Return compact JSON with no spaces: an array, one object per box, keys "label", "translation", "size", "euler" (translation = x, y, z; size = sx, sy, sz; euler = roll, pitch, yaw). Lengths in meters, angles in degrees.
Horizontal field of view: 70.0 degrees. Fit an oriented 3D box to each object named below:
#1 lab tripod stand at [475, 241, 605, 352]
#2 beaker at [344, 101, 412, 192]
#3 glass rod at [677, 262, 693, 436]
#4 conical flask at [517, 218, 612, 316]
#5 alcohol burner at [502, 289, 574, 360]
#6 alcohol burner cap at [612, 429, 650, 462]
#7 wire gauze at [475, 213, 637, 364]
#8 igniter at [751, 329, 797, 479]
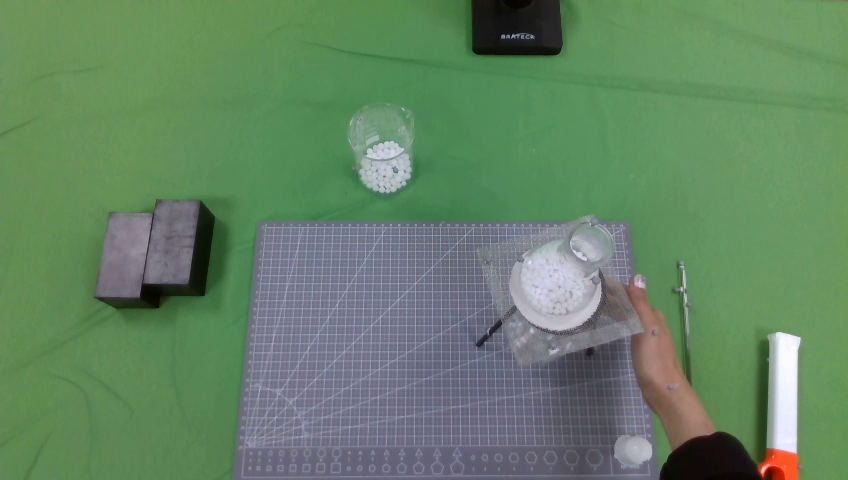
[{"label":"lab tripod stand","translation":[0.125,0.067,0.636],"size":[0.148,0.132,0.147],"euler":[0,73,0]},{"label":"beaker","translation":[-0.048,-0.107,0.713],"size":[0.084,0.101,0.073],"euler":[-39,76,-13]},{"label":"glass rod","translation":[0.296,0.120,0.689],"size":[0.008,0.008,0.198],"euler":[5,71,1]},{"label":"conical flask","translation":[0.125,0.019,0.520],"size":[0.075,0.122,0.075],"euler":[0,73,-1]},{"label":"alcohol burner","translation":[0.124,0.085,0.640],"size":[0.078,0.120,0.077],"euler":[1,71,-2]},{"label":"alcohol burner cap","translation":[0.220,0.215,0.635],"size":[0.034,0.048,0.033],"euler":[0,71,-1]},{"label":"wire gauze","translation":[0.125,0.044,0.574],"size":[0.125,0.011,0.120],"euler":[-15,75,-8]},{"label":"igniter","translation":[0.376,0.231,0.643],"size":[0.057,0.025,0.275],"euler":[15,71,-7]}]
